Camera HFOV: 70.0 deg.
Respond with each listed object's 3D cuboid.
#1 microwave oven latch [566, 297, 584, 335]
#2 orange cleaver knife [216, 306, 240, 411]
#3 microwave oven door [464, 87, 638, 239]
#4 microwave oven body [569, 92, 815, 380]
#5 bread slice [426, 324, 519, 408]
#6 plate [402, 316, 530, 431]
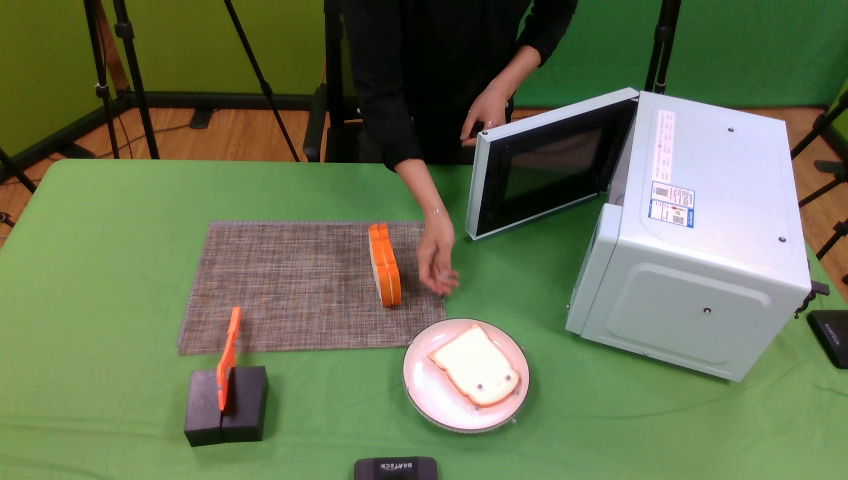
[{"bbox_3d":[0.268,0.126,1.059,0.030,0.029,0.079,16,46,12],"label":"microwave oven latch"},{"bbox_3d":[-0.307,0.180,0.957,0.012,0.077,0.210,-2,25,-8],"label":"orange cleaver knife"},{"bbox_3d":[0.248,-0.151,1.184,0.356,0.245,0.039,-20,51,-22],"label":"microwave oven door"},{"bbox_3d":[0.468,-0.022,1.082,0.325,0.261,0.440,15,46,11],"label":"microwave oven body"},{"bbox_3d":[0.087,0.209,0.989,0.107,0.018,0.133,-32,57,-26],"label":"bread slice"},{"bbox_3d":[0.066,0.217,0.982,0.208,0.039,0.206,2,46,-2],"label":"plate"}]
